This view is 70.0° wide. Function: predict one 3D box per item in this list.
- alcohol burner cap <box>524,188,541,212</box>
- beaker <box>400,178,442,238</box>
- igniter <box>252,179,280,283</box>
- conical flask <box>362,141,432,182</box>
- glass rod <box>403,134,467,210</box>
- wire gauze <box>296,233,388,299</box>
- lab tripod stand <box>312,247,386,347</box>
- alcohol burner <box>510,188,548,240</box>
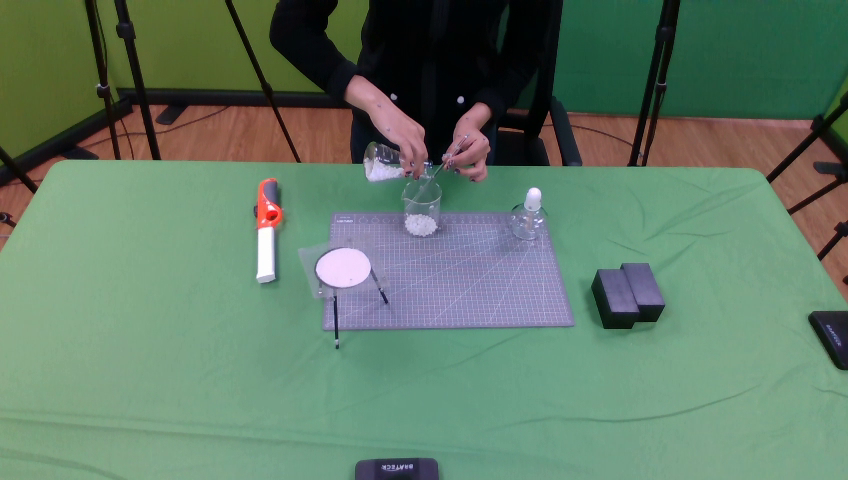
[{"bbox_3d":[0.212,-0.081,1.177,0.034,0.048,0.033,-2,54,2],"label":"alcohol burner cap"},{"bbox_3d":[-0.009,-0.059,1.200,0.084,0.101,0.073,-14,48,-17],"label":"beaker"},{"bbox_3d":[-0.312,-0.027,1.197,0.057,0.025,0.274,-12,47,-1],"label":"igniter"},{"bbox_3d":[-0.047,-0.137,1.106,0.122,0.075,0.075,4,44,-23],"label":"conical flask"},{"bbox_3d":[0.018,-0.125,1.138,0.008,0.200,0.008,29,33,-21],"label":"glass rod"},{"bbox_3d":[-0.133,0.041,0.977,0.125,0.011,0.120,-12,47,-16],"label":"wire gauze"},{"bbox_3d":[-0.134,0.085,1.028,0.148,0.132,0.147,2,45,-1],"label":"lab tripod stand"},{"bbox_3d":[0.211,-0.057,1.204,0.078,0.120,0.077,1,47,-1],"label":"alcohol burner"}]
